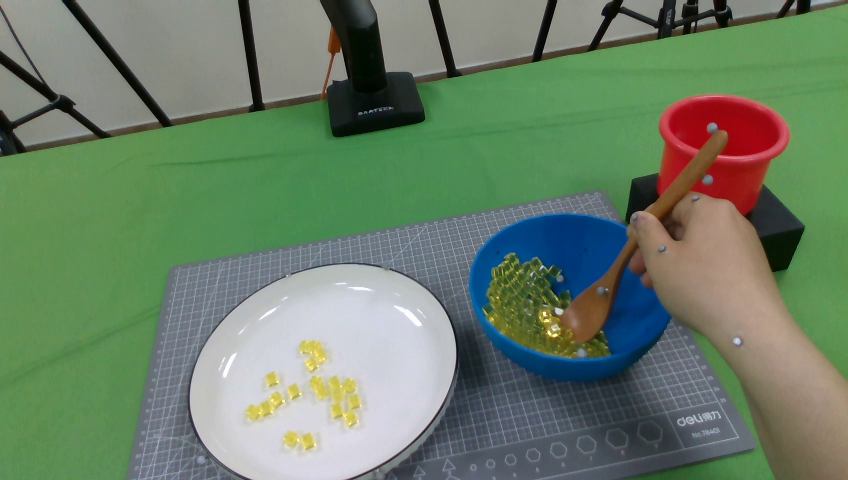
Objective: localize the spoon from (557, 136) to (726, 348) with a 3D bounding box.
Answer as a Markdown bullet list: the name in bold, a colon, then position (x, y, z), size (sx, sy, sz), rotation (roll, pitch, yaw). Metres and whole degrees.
- **spoon**: position (0.149, 0.008, 0.430), size (0.022, 0.195, 0.041), rotation (12, 38, -16)

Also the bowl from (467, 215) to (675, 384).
- **bowl**: position (0.110, 0.058, 0.474), size (0.151, 0.077, 0.150), rotation (-4, 43, 4)

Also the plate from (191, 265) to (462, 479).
- **plate**: position (-0.073, 0.105, 0.479), size (0.207, 0.039, 0.205), rotation (-4, 43, 4)
